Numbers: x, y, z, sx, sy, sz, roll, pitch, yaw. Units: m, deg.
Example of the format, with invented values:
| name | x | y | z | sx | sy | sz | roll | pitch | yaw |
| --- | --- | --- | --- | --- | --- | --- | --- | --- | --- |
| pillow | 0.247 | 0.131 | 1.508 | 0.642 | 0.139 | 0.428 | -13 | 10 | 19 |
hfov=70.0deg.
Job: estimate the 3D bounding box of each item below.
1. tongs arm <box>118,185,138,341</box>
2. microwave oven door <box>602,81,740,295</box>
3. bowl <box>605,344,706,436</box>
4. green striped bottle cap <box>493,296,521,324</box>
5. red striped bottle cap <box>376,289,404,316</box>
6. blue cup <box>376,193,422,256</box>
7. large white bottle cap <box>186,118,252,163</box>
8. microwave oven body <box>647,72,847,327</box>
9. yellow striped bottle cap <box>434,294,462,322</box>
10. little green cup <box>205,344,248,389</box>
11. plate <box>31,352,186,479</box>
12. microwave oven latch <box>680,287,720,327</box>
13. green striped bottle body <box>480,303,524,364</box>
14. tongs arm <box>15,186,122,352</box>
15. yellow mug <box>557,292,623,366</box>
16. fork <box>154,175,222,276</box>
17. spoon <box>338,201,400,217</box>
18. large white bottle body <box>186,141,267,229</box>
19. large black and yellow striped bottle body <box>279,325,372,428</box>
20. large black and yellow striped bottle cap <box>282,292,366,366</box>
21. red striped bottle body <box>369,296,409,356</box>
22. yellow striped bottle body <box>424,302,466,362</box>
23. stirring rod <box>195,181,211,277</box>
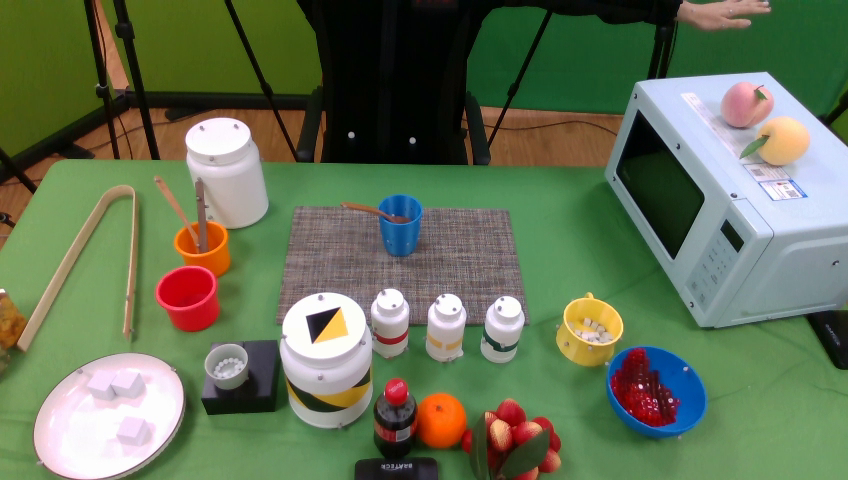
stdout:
| name | x | y | z | sx | sy | sz | roll | pitch | yaw |
| --- | --- | --- | --- | --- | --- | --- | --- | --- | --- |
| tongs arm | -0.555 | 0.028 | 1.116 | 0.051 | 0.027 | 0.382 | -11 | 47 | -8 |
| microwave oven door | 0.456 | -0.107 | 1.162 | 0.039 | 0.245 | 0.353 | -6 | 47 | -11 |
| bowl | 0.351 | 0.247 | 0.950 | 0.151 | 0.077 | 0.150 | 2 | 46 | -2 |
| green striped bottle cap | 0.133 | 0.111 | 0.962 | 0.044 | 0.020 | 0.044 | 2 | 47 | -2 |
| red striped bottle cap | -0.054 | 0.098 | 0.958 | 0.044 | 0.018 | 0.044 | 0 | 48 | 1 |
| blue cup | -0.048 | -0.024 | 1.157 | 0.093 | 0.101 | 0.092 | 1 | 48 | -1 |
| large white bottle cap | -0.377 | -0.185 | 1.115 | 0.115 | 0.018 | 0.114 | 2 | 47 | -2 |
| microwave oven body | 0.608 | -0.089 | 1.164 | 0.326 | 0.261 | 0.438 | -7 | 46 | -10 |
| yellow striped bottle cap | 0.038 | 0.107 | 0.958 | 0.044 | 0.019 | 0.044 | 2 | 45 | -2 |
| little green cup | -0.294 | 0.191 | 0.909 | 0.061 | 0.039 | 0.061 | 1 | 47 | -1 |
| plate | -0.459 | 0.262 | 0.898 | 0.209 | 0.038 | 0.208 | 2 | 46 | -2 |
| microwave oven latch | 0.494 | 0.119 | 1.088 | 0.030 | 0.029 | 0.078 | -7 | 46 | -10 |
| green striped bottle body | 0.129 | 0.147 | 1.000 | 0.063 | 0.120 | 0.063 | 2 | 46 | -2 |
| tongs arm | -0.642 | 0.037 | 1.107 | 0.028 | 0.028 | 0.385 | -2 | 46 | 5 |
| yellow mug | 0.285 | 0.145 | 1.051 | 0.100 | 0.064 | 0.130 | 7 | 46 | 4 |
| fork | -0.431 | -0.026 | 1.101 | 0.028 | 0.018 | 0.207 | -33 | 100 | -25 |
| spoon | -0.085 | -0.048 | 1.100 | 0.195 | 0.021 | 0.041 | 20 | 27 | -53 |
| large white bottle body | -0.382 | -0.127 | 1.176 | 0.131 | 0.185 | 0.130 | 2 | 47 | -2 |
| large black and yellow striped bottle body | -0.143 | 0.181 | 0.900 | 0.131 | 0.185 | 0.130 | 2 | 46 | -2 |
| large black and yellow striped bottle cap | -0.138 | 0.121 | 0.841 | 0.115 | 0.019 | 0.114 | 3 | 47 | -3 |
| red striped bottle body | -0.059 | 0.134 | 0.997 | 0.063 | 0.120 | 0.062 | 5 | 48 | -5 |
| yellow striped bottle body | 0.035 | 0.143 | 0.995 | 0.063 | 0.121 | 0.062 | 3 | 46 | -3 |
| stirring rod | -0.403 | -0.020 | 1.104 | 0.014 | 0.006 | 0.176 | -6 | 89 | -9 |
